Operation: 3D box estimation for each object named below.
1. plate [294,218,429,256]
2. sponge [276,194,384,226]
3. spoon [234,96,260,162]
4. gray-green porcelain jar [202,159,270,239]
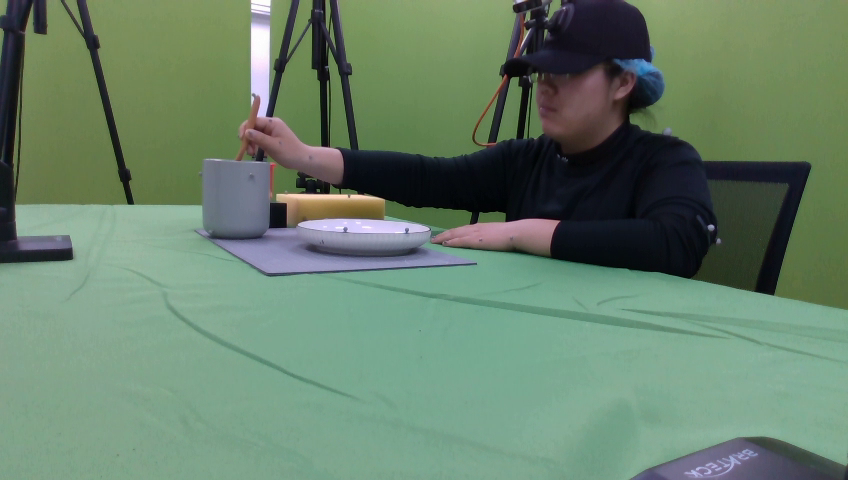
[{"bbox_3d":[-0.096,-0.005,0.936,0.208,0.039,0.207,3,7,0],"label":"plate"},{"bbox_3d":[-0.203,-0.066,1.312,0.208,0.061,0.117,-3,9,-35],"label":"sponge"},{"bbox_3d":[-0.307,-0.149,1.012,0.042,0.193,0.021,20,3,-45],"label":"spoon"},{"bbox_3d":[-0.310,-0.068,0.999,0.106,0.126,0.106,3,8,0],"label":"gray-green porcelain jar"}]
